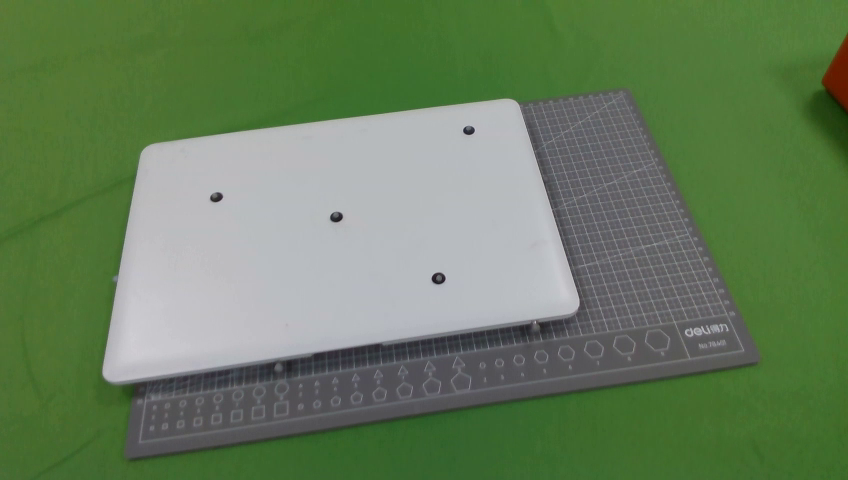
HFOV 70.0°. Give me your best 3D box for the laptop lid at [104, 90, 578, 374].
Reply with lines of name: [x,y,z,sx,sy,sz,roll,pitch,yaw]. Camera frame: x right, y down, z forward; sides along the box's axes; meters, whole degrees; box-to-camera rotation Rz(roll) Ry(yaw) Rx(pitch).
laptop lid: [-0.073,-0.023,0.501,0.357,0.013,0.239,-7,57,-1]

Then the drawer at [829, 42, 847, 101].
drawer: [0.497,-0.113,0.508,0.195,0.074,0.209,-12,55,-4]

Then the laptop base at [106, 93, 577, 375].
laptop base: [-0.072,-0.018,0.512,0.354,0.023,0.233,-8,58,-2]

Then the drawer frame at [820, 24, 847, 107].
drawer frame: [0.496,-0.115,0.508,0.202,0.083,0.211,-13,55,-5]
